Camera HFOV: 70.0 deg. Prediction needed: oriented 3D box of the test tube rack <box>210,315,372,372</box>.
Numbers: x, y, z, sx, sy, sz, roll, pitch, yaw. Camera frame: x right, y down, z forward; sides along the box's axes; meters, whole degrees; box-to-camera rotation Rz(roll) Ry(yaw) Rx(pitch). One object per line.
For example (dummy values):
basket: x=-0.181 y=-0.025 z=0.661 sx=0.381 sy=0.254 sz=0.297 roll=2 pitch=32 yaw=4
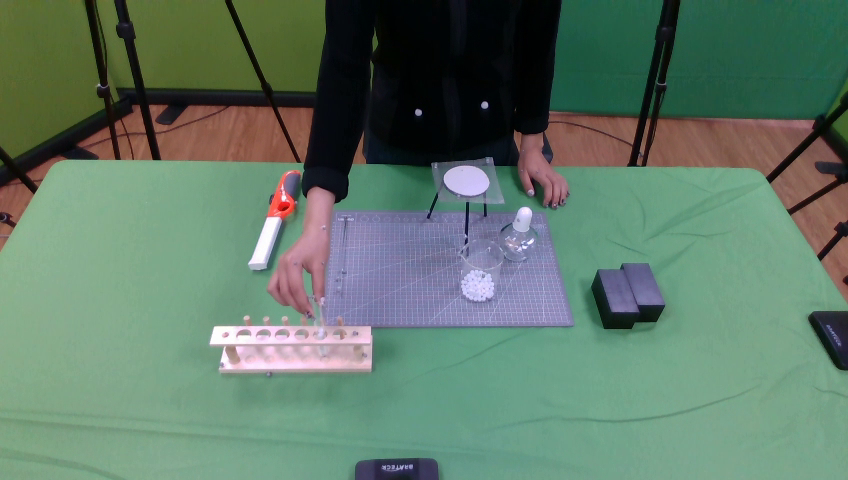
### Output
test tube rack: x=-0.208 y=0.164 z=0.982 sx=0.242 sy=0.085 sz=0.066 roll=1 pitch=46 yaw=-4

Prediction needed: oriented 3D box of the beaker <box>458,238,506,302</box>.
beaker: x=0.099 y=0.057 z=1.092 sx=0.084 sy=0.101 sz=0.073 roll=6 pitch=46 yaw=3

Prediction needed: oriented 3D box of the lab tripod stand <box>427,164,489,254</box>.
lab tripod stand: x=0.078 y=-0.068 z=1.187 sx=0.148 sy=0.132 sz=0.147 roll=3 pitch=47 yaw=-3

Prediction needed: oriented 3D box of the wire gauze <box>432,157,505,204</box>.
wire gauze: x=0.081 y=-0.112 z=1.137 sx=0.125 sy=0.011 sz=0.120 roll=-2 pitch=48 yaw=-6

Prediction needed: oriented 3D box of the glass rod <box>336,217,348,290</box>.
glass rod: x=-0.158 y=0.022 z=1.171 sx=0.008 sy=0.008 sz=0.198 roll=1 pitch=43 yaw=-2

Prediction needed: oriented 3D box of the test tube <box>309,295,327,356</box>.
test tube: x=-0.162 y=0.135 z=0.933 sx=0.017 sy=0.151 sz=0.017 roll=2 pitch=48 yaw=-2

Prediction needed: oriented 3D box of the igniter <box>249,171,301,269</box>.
igniter: x=-0.297 y=-0.049 z=1.220 sx=0.057 sy=0.025 sz=0.275 roll=-1 pitch=45 yaw=9

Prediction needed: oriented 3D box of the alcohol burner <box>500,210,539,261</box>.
alcohol burner: x=0.185 y=-0.016 z=1.159 sx=0.078 sy=0.119 sz=0.077 roll=2 pitch=48 yaw=-2

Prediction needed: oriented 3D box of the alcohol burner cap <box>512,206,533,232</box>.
alcohol burner cap: x=0.186 y=-0.042 z=1.134 sx=0.034 sy=0.048 sz=0.033 roll=6 pitch=41 yaw=-5
